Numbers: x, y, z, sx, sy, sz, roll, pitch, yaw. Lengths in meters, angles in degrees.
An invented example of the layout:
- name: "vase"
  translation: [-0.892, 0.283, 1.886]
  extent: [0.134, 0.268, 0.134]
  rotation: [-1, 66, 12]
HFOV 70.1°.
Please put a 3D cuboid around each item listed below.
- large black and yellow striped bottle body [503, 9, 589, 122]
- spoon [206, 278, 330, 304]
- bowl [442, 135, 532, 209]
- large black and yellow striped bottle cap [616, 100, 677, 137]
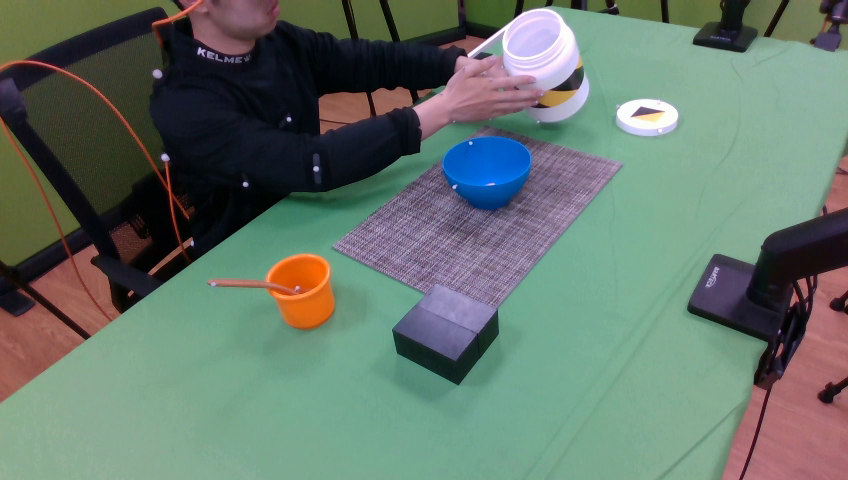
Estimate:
- name: "large black and yellow striped bottle body"
  translation: [0.224, -0.318, 1.115]
  extent: [0.130, 0.185, 0.130]
  rotation: [-10, 63, 21]
- name: "spoon"
  translation: [-0.207, 0.066, 0.824]
  extent: [0.041, 0.195, 0.021]
  rotation: [34, 100, 40]
- name: "bowl"
  translation: [0.108, -0.106, 1.026]
  extent: [0.151, 0.077, 0.150]
  rotation: [-4, 41, 4]
- name: "large black and yellow striped bottle cap"
  translation: [0.438, -0.242, 1.190]
  extent: [0.115, 0.019, 0.114]
  rotation: [-4, 42, 4]
